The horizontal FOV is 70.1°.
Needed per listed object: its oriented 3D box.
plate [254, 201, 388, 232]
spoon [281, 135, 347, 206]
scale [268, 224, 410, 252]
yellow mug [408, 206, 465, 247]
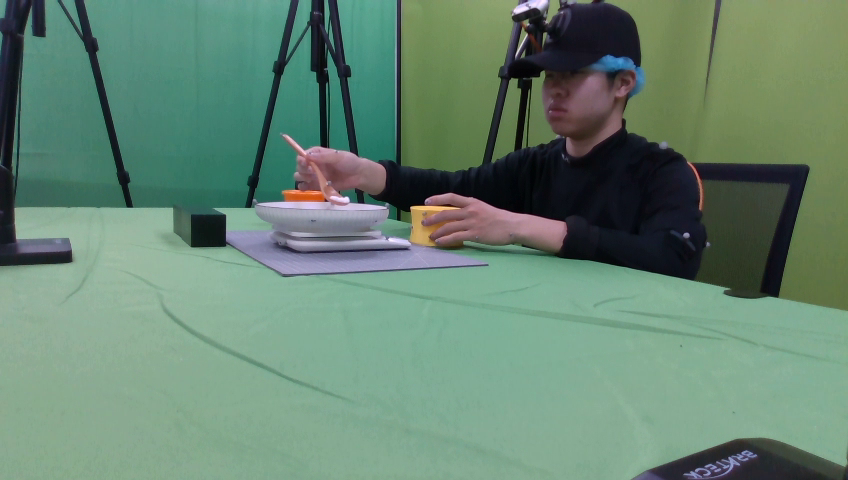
[{"bbox_3d":[-0.161,-0.037,0.961,0.209,0.038,0.209,2,6,0],"label":"plate"},{"bbox_3d":[-0.190,-0.120,1.026,0.042,0.021,0.193,-1,47,-53],"label":"spoon"},{"bbox_3d":[-0.137,-0.006,0.980,0.202,0.031,0.148,-1,8,-30],"label":"scale"},{"bbox_3d":[0.027,-0.027,1.104,0.099,0.064,0.131,6,6,20],"label":"yellow mug"}]
